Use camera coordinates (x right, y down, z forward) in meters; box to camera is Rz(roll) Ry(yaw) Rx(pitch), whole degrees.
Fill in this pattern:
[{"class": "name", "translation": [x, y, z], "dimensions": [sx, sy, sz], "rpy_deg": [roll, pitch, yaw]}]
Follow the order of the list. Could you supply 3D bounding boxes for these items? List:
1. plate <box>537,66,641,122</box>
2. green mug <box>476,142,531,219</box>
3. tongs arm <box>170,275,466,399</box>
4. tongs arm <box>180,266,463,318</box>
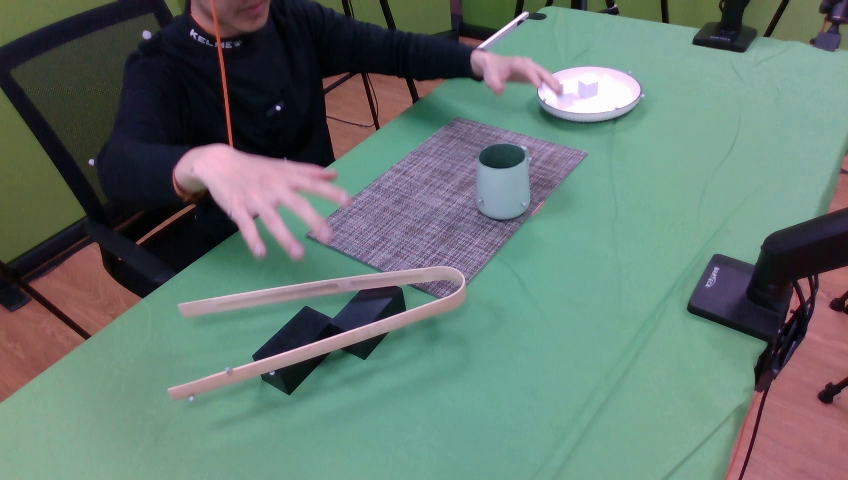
[{"class": "plate", "translation": [0.338, -0.299, 1.255], "dimensions": [0.209, 0.038, 0.208], "rpy_deg": [-4, 41, 4]}, {"class": "green mug", "translation": [0.140, -0.106, 1.002], "dimensions": [0.092, 0.105, 0.125], "rpy_deg": [21, 48, 30]}, {"class": "tongs arm", "translation": [-0.122, 0.120, 0.768], "dimensions": [0.386, 0.026, 0.050], "rpy_deg": [-16, 38, -10]}, {"class": "tongs arm", "translation": [-0.139, 0.073, 0.828], "dimensions": [0.388, 0.028, 0.028], "rpy_deg": [-8, 34, 0]}]
